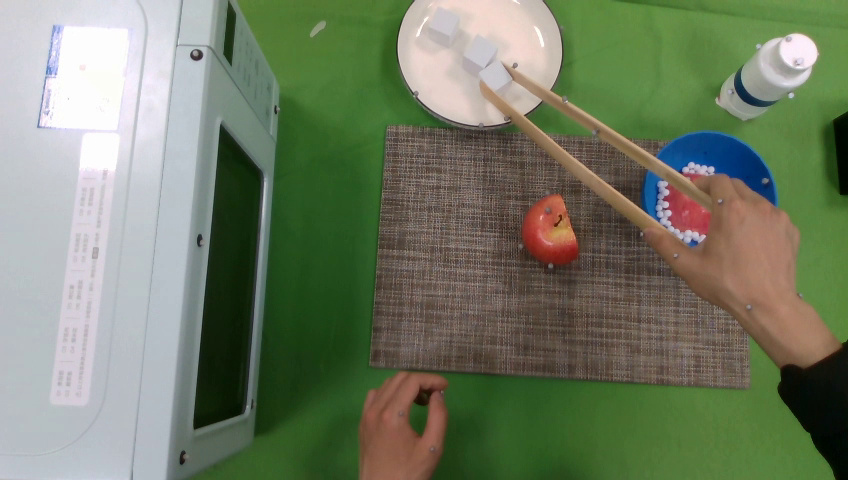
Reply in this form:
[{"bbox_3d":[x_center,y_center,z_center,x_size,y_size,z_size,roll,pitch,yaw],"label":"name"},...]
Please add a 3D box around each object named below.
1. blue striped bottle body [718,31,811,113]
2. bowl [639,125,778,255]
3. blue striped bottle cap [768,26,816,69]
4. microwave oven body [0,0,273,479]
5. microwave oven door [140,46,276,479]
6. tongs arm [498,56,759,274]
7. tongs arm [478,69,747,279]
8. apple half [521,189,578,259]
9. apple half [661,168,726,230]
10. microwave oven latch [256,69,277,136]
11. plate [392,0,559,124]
[{"bbox_3d":[0.408,-0.202,0.721,0.063,0.121,0.063,0,80,0],"label":"blue striped bottle body"},{"bbox_3d":[0.318,-0.050,0.712,0.151,0.077,0.151,0,80,0],"label":"bowl"},{"bbox_3d":[0.408,-0.213,0.671,0.044,0.020,0.044,0,83,-1],"label":"blue striped bottle cap"},{"bbox_3d":[-0.345,-0.013,0.603,0.326,0.261,0.440,1,81,-1],"label":"microwave oven body"},{"bbox_3d":[-0.199,0.031,0.593,0.039,0.244,0.354,1,80,0],"label":"microwave oven door"},{"bbox_3d":[0.187,-0.098,0.635,0.051,0.027,0.380,-38,53,-9],"label":"tongs arm"},{"bbox_3d":[0.168,-0.085,0.633,0.028,0.028,0.383,-32,52,-9],"label":"tongs arm"},{"bbox_3d":[0.140,-0.014,0.706,0.053,0.075,0.080,-17,85,0],"label":"apple half"},{"bbox_3d":[0.320,-0.050,0.707,0.081,0.033,0.081,0,78,-1],"label":"apple half"},{"bbox_3d":[-0.193,-0.166,0.729,0.030,0.029,0.079,2,81,-1],"label":"microwave oven latch"},{"bbox_3d":[0.064,-0.241,0.765,0.208,0.039,0.207,0,81,-1],"label":"plate"}]
